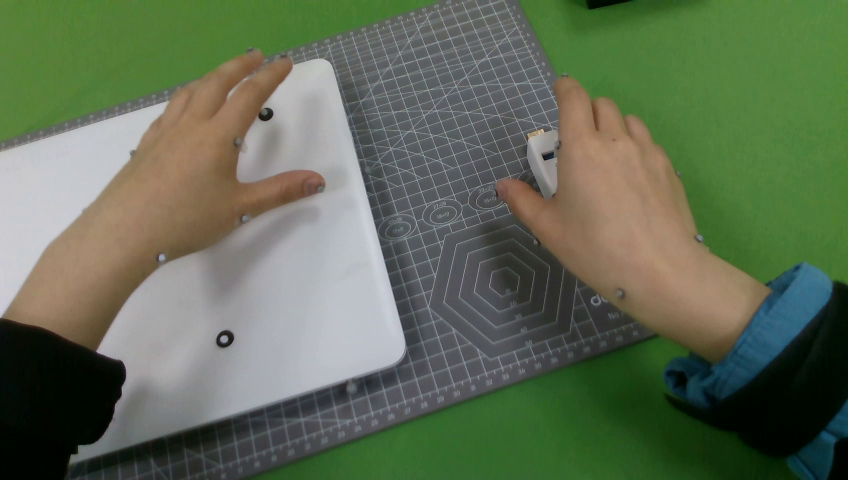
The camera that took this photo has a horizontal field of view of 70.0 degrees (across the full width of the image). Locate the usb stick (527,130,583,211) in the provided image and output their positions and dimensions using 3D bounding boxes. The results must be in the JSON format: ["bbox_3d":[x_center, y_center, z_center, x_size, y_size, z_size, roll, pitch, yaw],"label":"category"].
[{"bbox_3d":[0.082,-0.051,0.394,0.021,0.027,0.058,-19,61,2],"label":"usb stick"}]

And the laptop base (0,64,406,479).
[{"bbox_3d":[-0.206,0.022,0.403,0.354,0.023,0.233,-17,68,-1],"label":"laptop base"}]

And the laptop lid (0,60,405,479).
[{"bbox_3d":[-0.207,0.018,0.391,0.357,0.013,0.239,-15,67,0],"label":"laptop lid"}]
